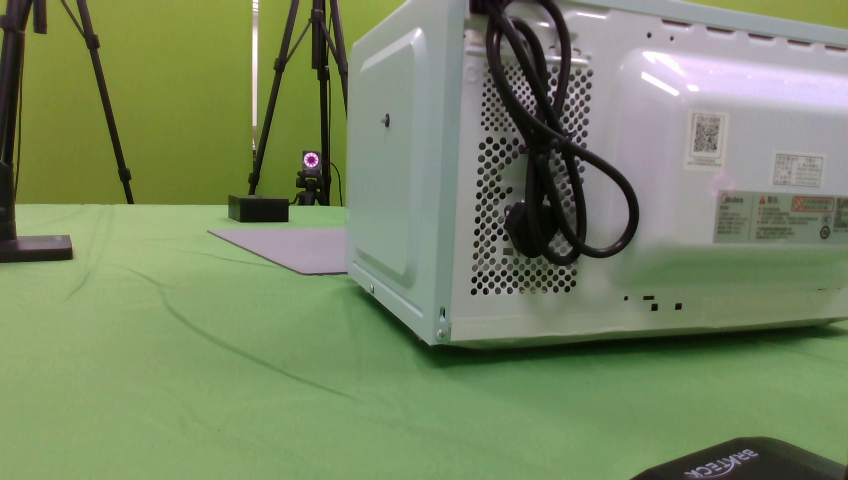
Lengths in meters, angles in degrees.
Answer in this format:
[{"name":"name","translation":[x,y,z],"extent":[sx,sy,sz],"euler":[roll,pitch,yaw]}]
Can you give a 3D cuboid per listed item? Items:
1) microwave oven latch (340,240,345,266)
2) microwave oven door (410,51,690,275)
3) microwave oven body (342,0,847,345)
[{"name":"microwave oven latch","translation":[-0.052,0.016,0.662],"extent":[0.079,0.029,0.030],"euler":[1,7,-18]},{"name":"microwave oven door","translation":[0.161,-0.084,0.723],"extent":[0.357,0.243,0.039],"euler":[0,8,-20]},{"name":"microwave oven body","translation":[0.169,-0.060,0.573],"extent":[0.444,0.260,0.324],"euler":[1,7,-20]}]
